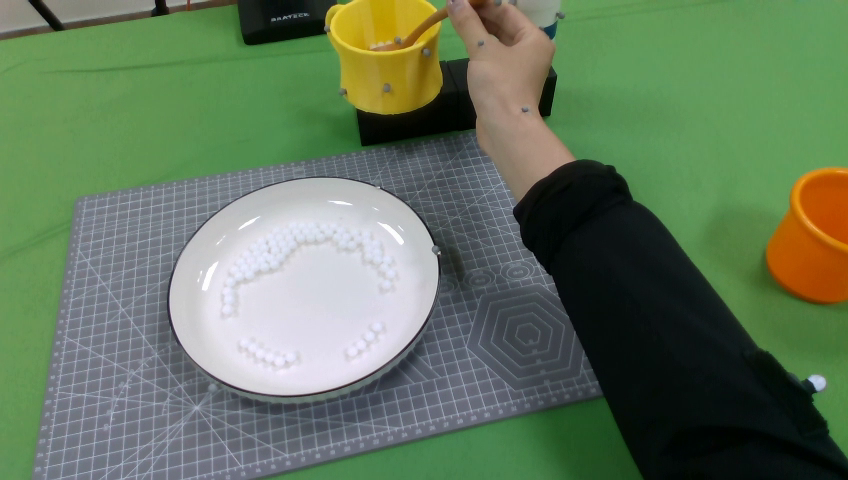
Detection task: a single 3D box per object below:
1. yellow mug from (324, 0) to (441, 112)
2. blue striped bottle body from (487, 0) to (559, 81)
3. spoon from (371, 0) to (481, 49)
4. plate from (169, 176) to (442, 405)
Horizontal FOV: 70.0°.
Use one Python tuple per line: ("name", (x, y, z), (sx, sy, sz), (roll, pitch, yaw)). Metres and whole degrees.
("yellow mug", (-0.046, -0.183, 0.573), (0.130, 0.064, 0.100), (30, 57, 24))
("blue striped bottle body", (0.093, -0.215, 0.559), (0.063, 0.122, 0.062), (-1, 51, 1))
("spoon", (0.008, -0.187, 0.520), (0.193, 0.022, 0.041), (-15, 36, 46))
("plate", (-0.089, 0.036, 0.478), (0.208, 0.039, 0.205), (0, 51, 1))
